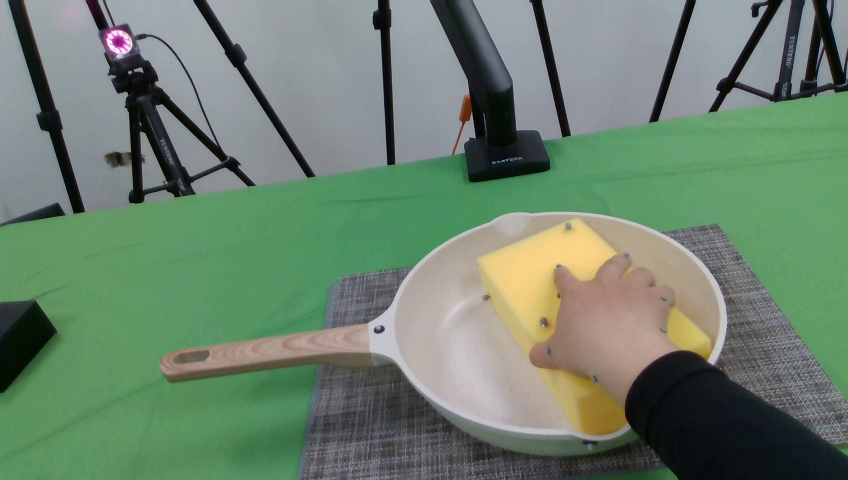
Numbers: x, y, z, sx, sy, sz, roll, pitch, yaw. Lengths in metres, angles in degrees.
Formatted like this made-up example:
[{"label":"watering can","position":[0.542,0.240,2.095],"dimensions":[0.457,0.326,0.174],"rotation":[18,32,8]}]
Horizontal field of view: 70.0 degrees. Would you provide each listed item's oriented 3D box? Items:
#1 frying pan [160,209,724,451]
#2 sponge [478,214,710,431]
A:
[{"label":"frying pan","position":[0.011,0.084,0.555],"dimensions":[0.488,0.103,0.303],"rotation":[-4,33,-4]},{"label":"sponge","position":[0.145,0.066,0.560],"dimensions":[0.118,0.061,0.204],"rotation":[-23,35,-6]}]
